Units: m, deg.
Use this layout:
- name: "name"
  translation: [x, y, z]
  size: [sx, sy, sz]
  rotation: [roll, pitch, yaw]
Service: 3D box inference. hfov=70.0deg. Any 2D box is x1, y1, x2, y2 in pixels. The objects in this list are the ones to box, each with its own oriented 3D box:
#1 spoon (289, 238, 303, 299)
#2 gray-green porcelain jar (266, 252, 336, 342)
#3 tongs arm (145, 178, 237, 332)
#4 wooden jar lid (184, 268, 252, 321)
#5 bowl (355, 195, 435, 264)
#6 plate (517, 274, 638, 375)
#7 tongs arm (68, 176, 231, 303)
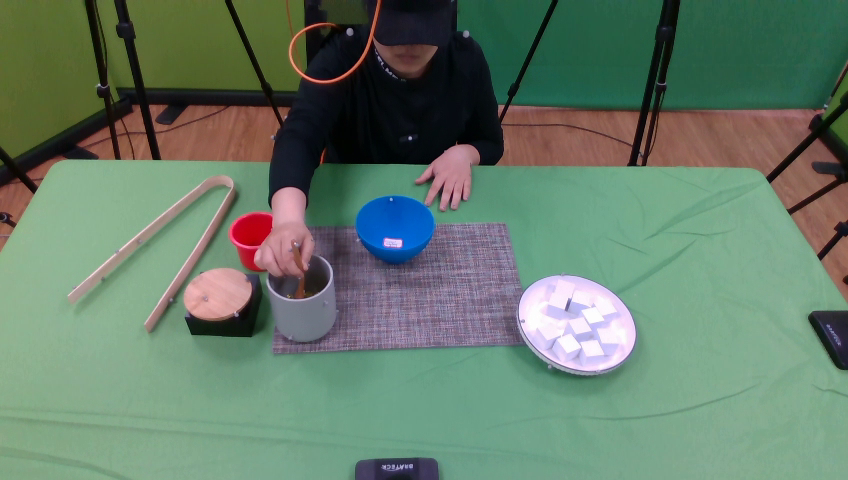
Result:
- name: "spoon"
  translation: [-0.201, 0.061, 0.972]
  size: [0.022, 0.194, 0.041]
  rotation: [-17, 51, -23]
- name: "gray-green porcelain jar"
  translation: [-0.202, 0.100, 1.009]
  size: [0.106, 0.127, 0.105]
  rotation: [2, 46, -2]
- name: "tongs arm"
  translation: [-0.432, 0.014, 1.149]
  size: [0.028, 0.028, 0.385]
  rotation: [7, 45, 7]
- name: "wooden jar lid"
  translation: [-0.343, 0.093, 1.015]
  size: [0.108, 0.021, 0.107]
  rotation: [3, 46, -3]
- name: "bowl"
  translation: [-0.056, -0.008, 1.158]
  size: [0.151, 0.077, 0.150]
  rotation: [2, 46, -2]
- name: "plate"
  translation: [0.264, 0.149, 1.060]
  size: [0.209, 0.038, 0.208]
  rotation: [3, 46, -3]
- name: "tongs arm"
  translation: [-0.510, -0.011, 1.162]
  size: [0.050, 0.026, 0.383]
  rotation: [20, 47, 14]
